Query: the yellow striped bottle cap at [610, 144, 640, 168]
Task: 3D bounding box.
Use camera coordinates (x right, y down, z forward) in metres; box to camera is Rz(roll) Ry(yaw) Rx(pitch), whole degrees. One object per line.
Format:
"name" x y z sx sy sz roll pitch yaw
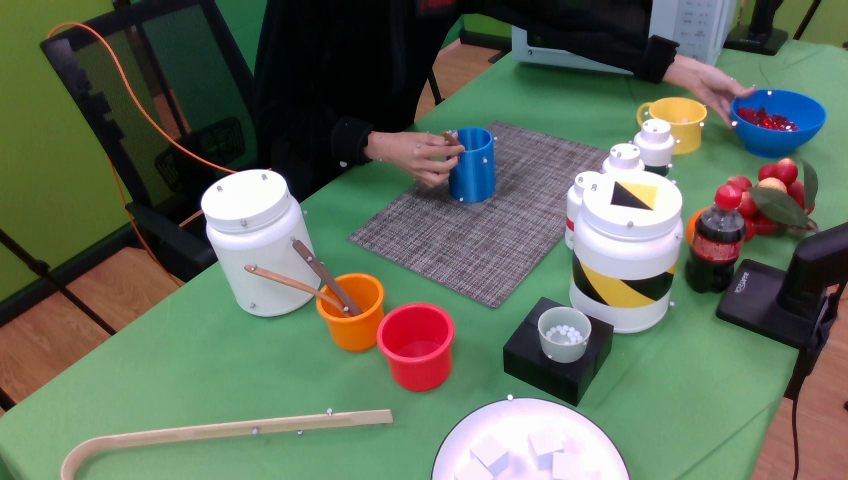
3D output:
"yellow striped bottle cap" 0.307 -0.128 0.923 0.044 0.019 0.044 -5 39 5

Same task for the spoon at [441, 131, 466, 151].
"spoon" 0.063 -0.145 1.001 0.041 0.195 0.021 10 79 24

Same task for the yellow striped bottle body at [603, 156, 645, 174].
"yellow striped bottle body" 0.313 -0.089 0.955 0.063 0.121 0.062 -4 40 4

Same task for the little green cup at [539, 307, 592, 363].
"little green cup" 0.169 0.115 0.721 0.061 0.039 0.061 -4 42 4

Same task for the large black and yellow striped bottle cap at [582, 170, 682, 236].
"large black and yellow striped bottle cap" 0.252 -0.048 0.735 0.115 0.019 0.114 -3 40 3

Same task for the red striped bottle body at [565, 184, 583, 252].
"red striped bottle body" 0.247 -0.041 0.910 0.063 0.120 0.062 -3 39 3

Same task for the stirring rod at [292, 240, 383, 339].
"stirring rod" -0.118 0.068 0.826 0.176 0.006 0.014 49 60 -4

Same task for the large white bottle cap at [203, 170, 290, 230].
"large white bottle cap" -0.241 -0.057 0.822 0.115 0.018 0.114 -4 40 4

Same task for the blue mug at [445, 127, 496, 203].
"blue mug" 0.082 -0.140 1.059 0.082 0.106 0.116 -3 40 5

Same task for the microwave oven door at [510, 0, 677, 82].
"microwave oven door" 0.352 -0.476 1.289 0.353 0.245 0.039 15 44 25

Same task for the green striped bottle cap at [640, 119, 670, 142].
"green striped bottle cap" 0.371 -0.174 0.968 0.044 0.020 0.044 -4 41 4

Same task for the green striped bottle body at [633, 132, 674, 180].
"green striped bottle body" 0.376 -0.135 1.001 0.063 0.120 0.063 -5 40 5

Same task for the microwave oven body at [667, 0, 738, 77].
"microwave oven body" 0.462 -0.552 1.369 0.439 0.261 0.326 15 45 26

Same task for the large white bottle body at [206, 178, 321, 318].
"large white bottle body" -0.233 0.007 0.876 0.130 0.185 0.130 -5 40 4

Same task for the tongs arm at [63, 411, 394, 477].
"tongs arm" -0.228 0.241 0.715 0.385 0.026 0.050 -5 44 4

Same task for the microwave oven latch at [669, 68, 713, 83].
"microwave oven latch" 0.556 -0.348 1.261 0.078 0.029 0.030 15 46 26

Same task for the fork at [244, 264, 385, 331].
"fork" -0.142 0.078 0.806 0.209 0.018 0.028 30 34 -23

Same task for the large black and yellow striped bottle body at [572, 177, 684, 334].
"large black and yellow striped bottle body" 0.262 0.017 0.788 0.131 0.185 0.130 -5 40 4

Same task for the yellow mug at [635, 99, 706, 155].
"yellow mug" 0.452 -0.216 1.128 0.100 0.064 0.129 -32 45 -29

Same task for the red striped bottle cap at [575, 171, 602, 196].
"red striped bottle cap" 0.242 -0.081 0.876 0.044 0.018 0.044 -5 43 5

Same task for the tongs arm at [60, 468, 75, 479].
"tongs arm" -0.239 0.302 0.649 0.386 0.028 0.028 6 50 16

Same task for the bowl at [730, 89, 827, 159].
"bowl" 0.615 -0.197 1.068 0.151 0.077 0.150 -5 40 5

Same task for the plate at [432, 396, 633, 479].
"plate" 0.112 0.261 0.634 0.209 0.038 0.208 -5 40 4
